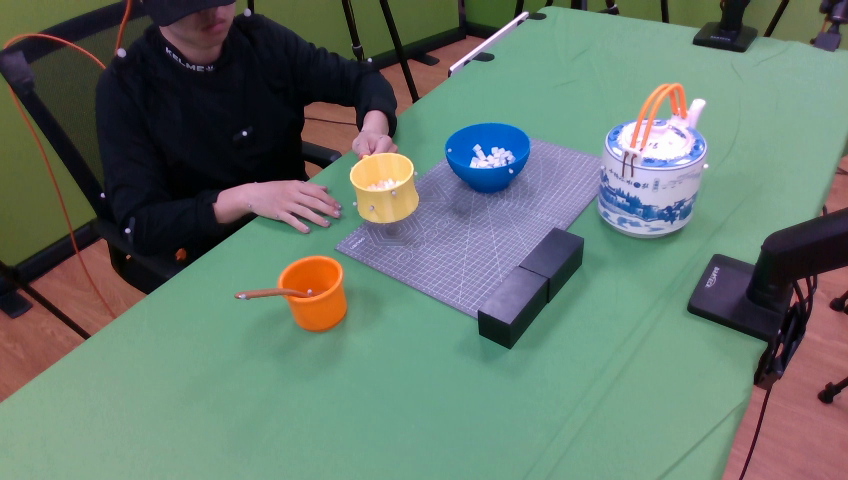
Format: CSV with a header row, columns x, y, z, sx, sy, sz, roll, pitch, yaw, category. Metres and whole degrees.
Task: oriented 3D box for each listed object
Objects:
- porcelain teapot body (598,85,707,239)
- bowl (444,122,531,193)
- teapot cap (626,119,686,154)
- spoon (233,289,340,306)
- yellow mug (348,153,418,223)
x,y,z,sx,sy,sz,roll,pitch,yaw,category
0.363,-0.137,0.921,0.144,0.226,0.206,28,51,36,porcelain teapot body
0.113,-0.136,1.063,0.151,0.077,0.150,-4,41,4,bowl
0.338,-0.153,0.882,0.085,0.044,0.085,-3,38,3,teapot cap
-0.181,0.075,0.811,0.041,0.195,0.021,18,91,31,spoon
-0.071,-0.091,0.955,0.100,0.064,0.129,-25,45,-18,yellow mug
